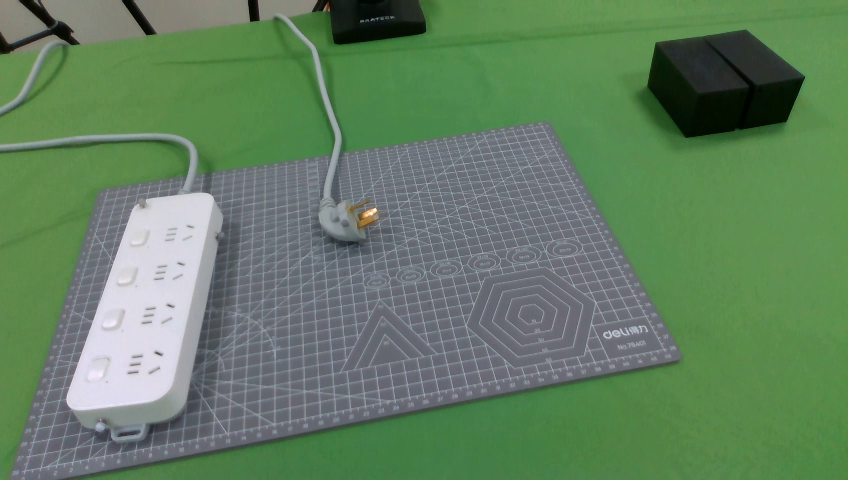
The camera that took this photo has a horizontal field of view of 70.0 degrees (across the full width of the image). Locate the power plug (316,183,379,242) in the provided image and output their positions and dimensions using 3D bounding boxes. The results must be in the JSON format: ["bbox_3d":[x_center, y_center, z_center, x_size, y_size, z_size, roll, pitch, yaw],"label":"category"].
[{"bbox_3d":[-0.067,-0.032,0.518,0.052,0.035,0.072,-18,64,8],"label":"power plug"}]

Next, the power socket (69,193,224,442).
[{"bbox_3d":[-0.204,0.042,0.465,0.072,0.033,0.224,-6,45,-2],"label":"power socket"}]
